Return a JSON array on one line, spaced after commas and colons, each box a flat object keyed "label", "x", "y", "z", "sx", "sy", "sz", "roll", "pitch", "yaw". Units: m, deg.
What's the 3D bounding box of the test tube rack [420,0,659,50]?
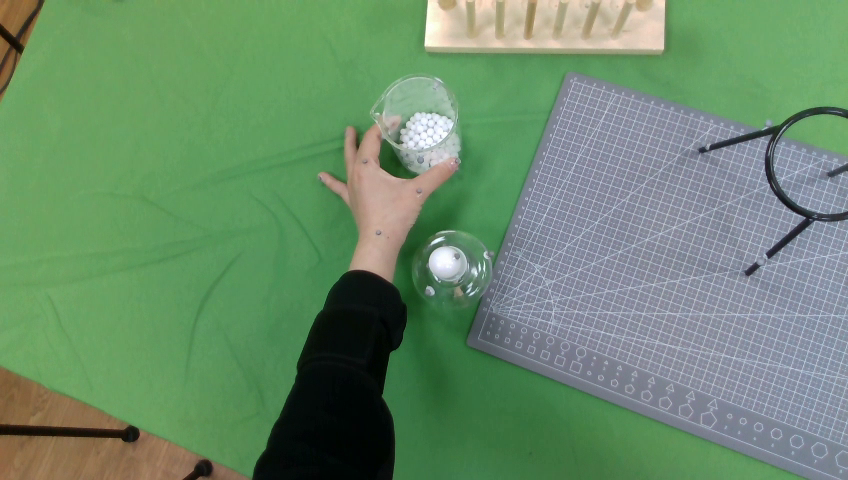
[{"label": "test tube rack", "x": 0.113, "y": -0.238, "z": 0.596, "sx": 0.242, "sy": 0.085, "sz": 0.066, "roll": 3, "pitch": 83, "yaw": 7}]

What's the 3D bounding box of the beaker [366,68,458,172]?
[{"label": "beaker", "x": -0.007, "y": -0.111, "z": 0.588, "sx": 0.084, "sy": 0.100, "sz": 0.074, "roll": 4, "pitch": 82, "yaw": 6}]

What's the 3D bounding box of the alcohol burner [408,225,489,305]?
[{"label": "alcohol burner", "x": 0.021, "y": 0.021, "z": 0.563, "sx": 0.078, "sy": 0.119, "sz": 0.077, "roll": -1, "pitch": 82, "yaw": 6}]

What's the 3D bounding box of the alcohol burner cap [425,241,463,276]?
[{"label": "alcohol burner cap", "x": 0.016, "y": 0.015, "z": 0.528, "sx": 0.034, "sy": 0.048, "sz": 0.034, "roll": 0, "pitch": 86, "yaw": 8}]

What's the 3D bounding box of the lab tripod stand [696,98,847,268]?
[{"label": "lab tripod stand", "x": 0.313, "y": -0.052, "z": 0.522, "sx": 0.148, "sy": 0.132, "sz": 0.148, "roll": -1, "pitch": 85, "yaw": 6}]
